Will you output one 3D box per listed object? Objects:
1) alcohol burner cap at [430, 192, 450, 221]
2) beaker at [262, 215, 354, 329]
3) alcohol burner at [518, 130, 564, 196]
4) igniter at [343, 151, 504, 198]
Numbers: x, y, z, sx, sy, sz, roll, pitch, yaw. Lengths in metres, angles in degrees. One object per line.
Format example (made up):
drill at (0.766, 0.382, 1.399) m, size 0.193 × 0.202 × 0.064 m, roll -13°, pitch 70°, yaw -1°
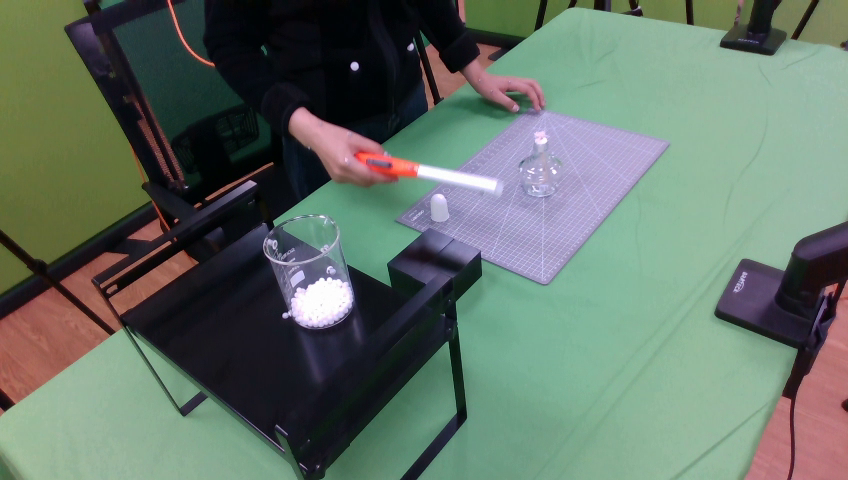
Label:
alcohol burner cap at (0.025, -0.059, 1.020) m, size 0.034 × 0.048 × 0.033 m, roll -4°, pitch 40°, yaw 4°
beaker at (-0.112, 0.034, 0.616) m, size 0.073 × 0.101 × 0.084 m, roll 13°, pitch 44°, yaw 23°
alcohol burner at (0.199, -0.135, 1.027) m, size 0.078 × 0.119 × 0.077 m, roll -5°, pitch 42°, yaw 5°
igniter at (-0.012, -0.099, 0.900) m, size 0.274 × 0.057 × 0.025 m, roll 15°, pitch 90°, yaw 29°
